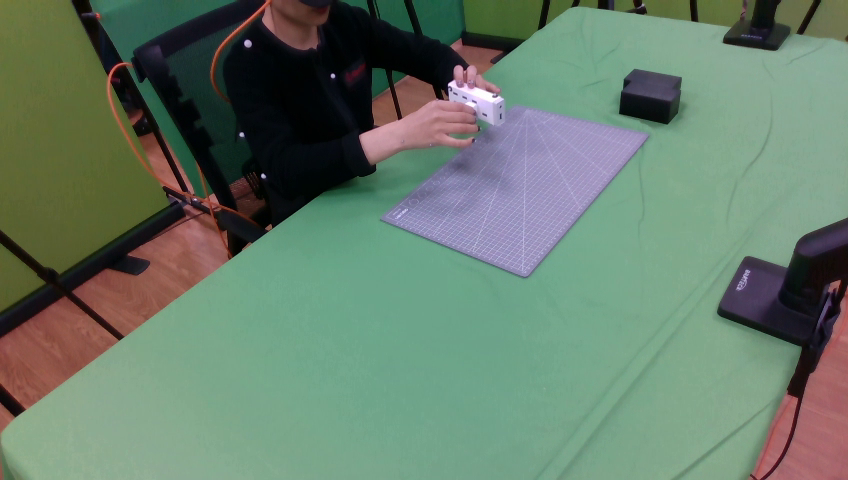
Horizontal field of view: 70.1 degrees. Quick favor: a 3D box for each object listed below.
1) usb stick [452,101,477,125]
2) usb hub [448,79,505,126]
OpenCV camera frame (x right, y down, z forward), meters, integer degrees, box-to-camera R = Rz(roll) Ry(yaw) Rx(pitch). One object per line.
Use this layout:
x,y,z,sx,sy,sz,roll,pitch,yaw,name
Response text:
0.079,-0.232,1.093,0.059,0.027,0.021,-31,45,-31,usb stick
0.096,-0.253,1.109,0.025,0.050,0.124,-34,47,-27,usb hub
